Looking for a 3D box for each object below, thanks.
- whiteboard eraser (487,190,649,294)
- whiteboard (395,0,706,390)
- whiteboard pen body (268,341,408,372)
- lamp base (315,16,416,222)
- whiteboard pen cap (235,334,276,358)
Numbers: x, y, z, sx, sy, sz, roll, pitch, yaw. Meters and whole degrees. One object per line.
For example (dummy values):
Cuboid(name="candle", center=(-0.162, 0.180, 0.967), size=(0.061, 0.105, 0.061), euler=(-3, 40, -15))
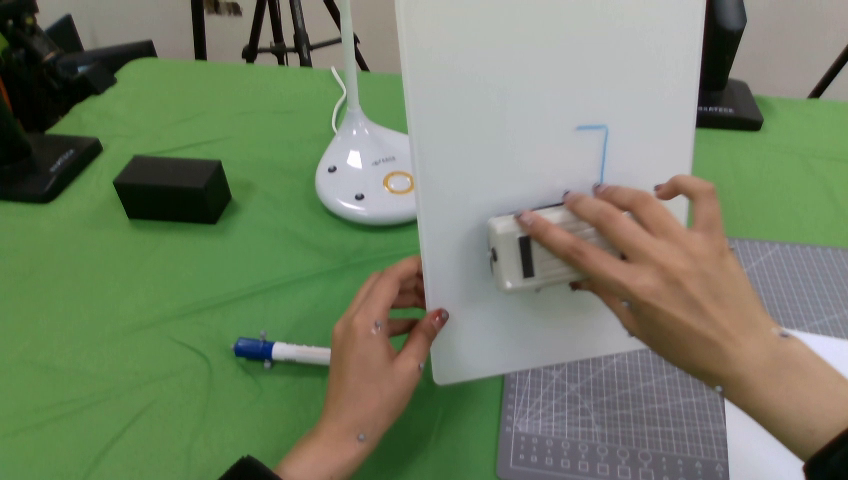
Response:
Cuboid(name="whiteboard eraser", center=(0.103, 0.001, 0.438), size=(0.113, 0.056, 0.041), euler=(-11, 11, -5))
Cuboid(name="whiteboard", center=(0.090, -0.058, 0.515), size=(0.217, 0.307, 0.142), euler=(-8, 23, -7))
Cuboid(name="whiteboard pen body", center=(-0.084, 0.098, 0.514), size=(0.141, 0.017, 0.017), euler=(5, 42, 2))
Cuboid(name="lamp base", center=(-0.055, -0.137, 0.656), size=(0.161, 0.182, 0.177), euler=(-28, 46, -27))
Cuboid(name="whiteboard pen cap", center=(-0.143, 0.091, 0.517), size=(0.033, 0.018, 0.018), euler=(7, 42, 0))
